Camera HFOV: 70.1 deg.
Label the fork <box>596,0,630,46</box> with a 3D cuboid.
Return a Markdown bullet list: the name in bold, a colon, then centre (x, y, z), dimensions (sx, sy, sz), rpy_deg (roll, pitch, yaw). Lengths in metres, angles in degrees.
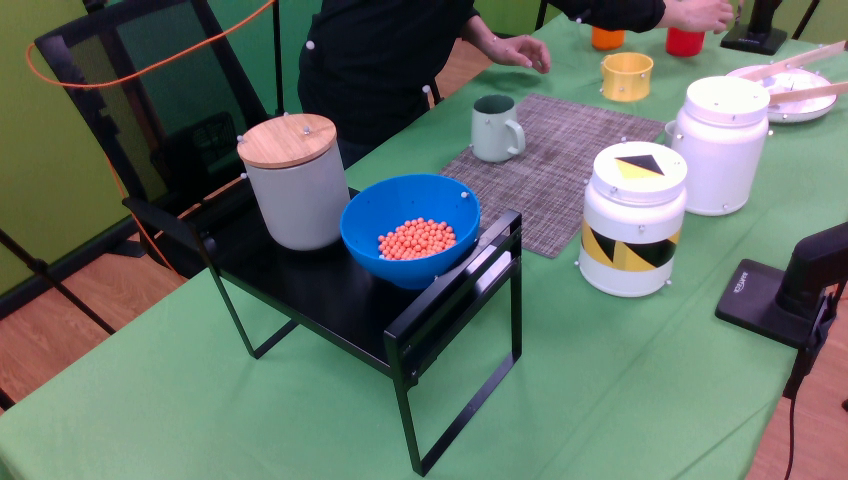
- **fork**: centre (0.481, -0.556, 1.452), dimensions (0.028, 0.019, 0.207), rpy_deg (40, 103, 38)

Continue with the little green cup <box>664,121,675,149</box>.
- **little green cup**: centre (0.472, -0.188, 1.113), dimensions (0.061, 0.039, 0.061), rpy_deg (-5, 40, 4)

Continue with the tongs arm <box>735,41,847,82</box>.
- **tongs arm**: centre (0.712, -0.332, 1.194), dimensions (0.386, 0.026, 0.050), rpy_deg (-18, 45, -16)

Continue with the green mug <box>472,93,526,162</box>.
- **green mug**: centre (0.144, -0.202, 1.122), dimensions (0.093, 0.105, 0.124), rpy_deg (-29, 45, -23)

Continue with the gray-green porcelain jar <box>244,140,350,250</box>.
- **gray-green porcelain jar**: centre (-0.144, -0.060, 0.714), dimensions (0.106, 0.127, 0.105), rpy_deg (-4, 41, 4)

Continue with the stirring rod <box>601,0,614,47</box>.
- **stirring rod**: centre (0.439, -0.552, 1.463), dimensions (0.014, 0.006, 0.175), rpy_deg (-7, 83, 2)

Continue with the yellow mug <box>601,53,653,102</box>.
- **yellow mug**: centre (0.423, -0.354, 1.293), dimensions (0.100, 0.064, 0.129), rpy_deg (-23, 42, -16)

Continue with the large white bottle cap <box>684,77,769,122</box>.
- **large white bottle cap**: centre (0.448, -0.209, 0.897), dimensions (0.115, 0.018, 0.114), rpy_deg (-4, 40, 4)

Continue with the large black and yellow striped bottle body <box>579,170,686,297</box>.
- **large black and yellow striped bottle body**: centre (0.287, -0.027, 0.841), dimensions (0.131, 0.185, 0.130), rpy_deg (-4, 40, 4)

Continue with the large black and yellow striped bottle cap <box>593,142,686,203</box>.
- **large black and yellow striped bottle cap**: centre (0.280, -0.090, 0.786), dimensions (0.115, 0.019, 0.114), rpy_deg (-5, 41, 5)

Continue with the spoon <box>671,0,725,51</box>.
- **spoon**: centre (0.627, -0.495, 1.345), dimensions (0.022, 0.193, 0.041), rpy_deg (22, 47, -16)

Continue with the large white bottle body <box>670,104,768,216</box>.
- **large white bottle body**: centre (0.458, -0.146, 0.952), dimensions (0.130, 0.185, 0.130), rpy_deg (-4, 40, 4)

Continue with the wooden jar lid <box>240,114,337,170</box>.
- **wooden jar lid**: centre (-0.149, -0.106, 0.673), dimensions (0.108, 0.021, 0.108), rpy_deg (-6, 39, 5)

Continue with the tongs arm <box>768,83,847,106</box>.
- **tongs arm**: centre (0.738, -0.281, 1.134), dimensions (0.388, 0.028, 0.028), rpy_deg (-9, 47, -5)

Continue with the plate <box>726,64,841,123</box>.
- **plate**: centre (0.694, -0.282, 1.189), dimensions (0.207, 0.039, 0.206), rpy_deg (-4, 40, 4)

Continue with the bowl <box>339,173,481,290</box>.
- **bowl**: centre (-0.011, 0.001, 0.660), dimensions (0.151, 0.077, 0.150), rpy_deg (-5, 40, 5)
